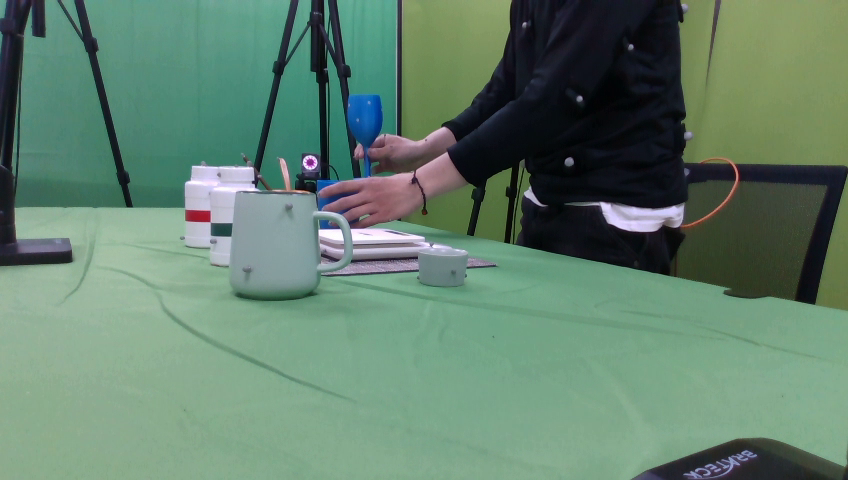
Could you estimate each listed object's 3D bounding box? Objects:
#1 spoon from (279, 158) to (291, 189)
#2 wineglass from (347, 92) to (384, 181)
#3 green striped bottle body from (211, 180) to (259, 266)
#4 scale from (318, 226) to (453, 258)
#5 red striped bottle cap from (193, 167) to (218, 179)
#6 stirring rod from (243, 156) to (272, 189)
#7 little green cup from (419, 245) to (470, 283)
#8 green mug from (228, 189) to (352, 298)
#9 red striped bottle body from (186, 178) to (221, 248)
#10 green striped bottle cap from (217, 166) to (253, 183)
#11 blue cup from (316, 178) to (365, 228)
[{"bbox_3d":[-0.280,-0.102,1.251,0.042,0.193,0.021,8,-40,-30],"label":"spoon"},{"bbox_3d":[-0.117,-0.208,1.222,0.074,0.172,0.073,-2,10,1],"label":"wineglass"},{"bbox_3d":[-0.243,-0.029,0.784,0.063,0.119,0.063,2,7,0],"label":"green striped bottle body"},{"bbox_3d":[-0.066,0.001,0.906,0.202,0.031,0.148,-2,8,-31],"label":"scale"},{"bbox_3d":[-0.329,-0.103,0.921,0.044,0.017,0.044,-1,9,0],"label":"red striped bottle cap"},{"bbox_3d":[-0.304,-0.099,1.201,0.006,0.177,0.014,-27,38,7],"label":"stirring rod"},{"bbox_3d":[0.023,0.028,0.713,0.061,0.038,0.061,2,6,0],"label":"little green cup"},{"bbox_3d":[-0.135,0.002,0.618,0.125,0.105,0.092,2,7,4],"label":"green mug"},{"bbox_3d":[-0.331,-0.050,0.927,0.063,0.119,0.063,2,7,0],"label":"red striped bottle body"},{"bbox_3d":[-0.242,-0.085,0.777,0.044,0.020,0.044,2,9,0],"label":"green striped bottle cap"},{"bbox_3d":[-0.149,-0.057,1.073,0.093,0.100,0.092,3,8,0],"label":"blue cup"}]
